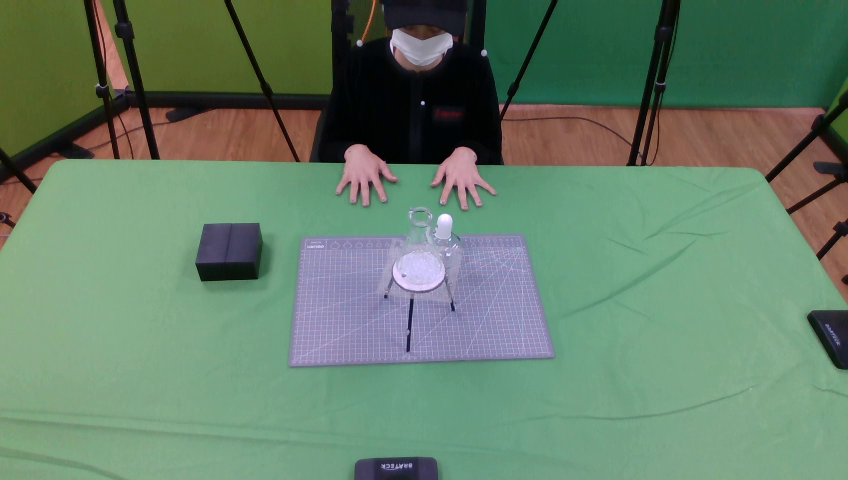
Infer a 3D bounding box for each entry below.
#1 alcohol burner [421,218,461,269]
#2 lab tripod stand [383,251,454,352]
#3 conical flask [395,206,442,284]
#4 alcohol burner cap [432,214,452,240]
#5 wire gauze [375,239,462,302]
[{"bbox_3d":[0.033,-0.001,1.135,0.078,0.119,0.077,3,48,-3],"label":"alcohol burner"},{"bbox_3d":[-0.015,0.094,1.025,0.148,0.132,0.147,1,46,-1],"label":"lab tripod stand"},{"bbox_3d":[-0.007,0.005,0.937,0.075,0.122,0.075,2,45,-1],"label":"conical flask"},{"bbox_3d":[0.035,-0.027,1.110,0.034,0.048,0.033,7,42,-6],"label":"alcohol burner cap"},{"bbox_3d":[-0.006,0.049,0.978,0.121,0.011,0.124,10,44,5],"label":"wire gauze"}]
